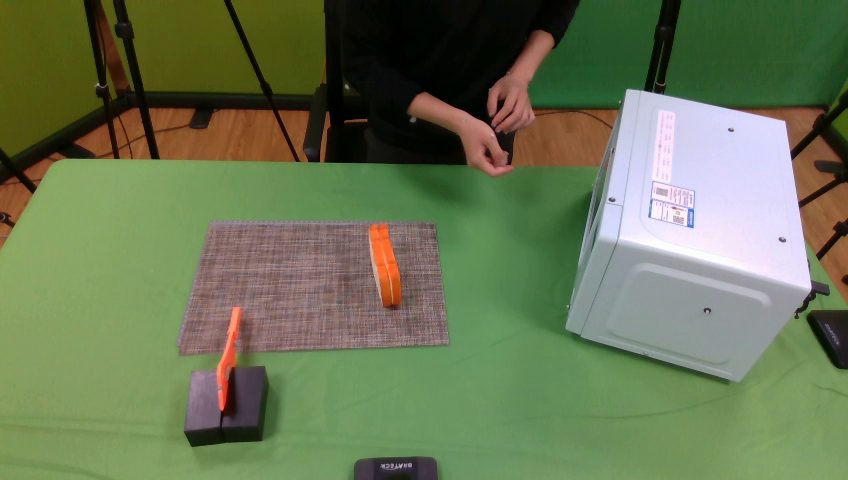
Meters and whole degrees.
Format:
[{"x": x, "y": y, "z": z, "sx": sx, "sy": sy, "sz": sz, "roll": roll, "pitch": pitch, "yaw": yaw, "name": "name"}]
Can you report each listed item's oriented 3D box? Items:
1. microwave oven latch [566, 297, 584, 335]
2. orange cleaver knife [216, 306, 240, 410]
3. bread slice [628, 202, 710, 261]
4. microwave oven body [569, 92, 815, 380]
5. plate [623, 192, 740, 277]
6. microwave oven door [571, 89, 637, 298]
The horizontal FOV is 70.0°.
[{"x": 0.268, "y": 0.126, "z": 1.059, "sx": 0.030, "sy": 0.029, "sz": 0.079, "roll": 16, "pitch": 46, "yaw": 12, "name": "microwave oven latch"}, {"x": -0.307, "y": 0.180, "z": 0.957, "sx": 0.012, "sy": 0.077, "sz": 0.210, "roll": -2, "pitch": 25, "yaw": -8, "name": "orange cleaver knife"}, {"x": 0.474, "y": -0.023, "z": 1.163, "sx": 0.134, "sy": 0.018, "sz": 0.106, "roll": -27, "pitch": 53, "yaw": -17, "name": "bread slice"}, {"x": 0.468, "y": -0.022, "z": 1.082, "sx": 0.325, "sy": 0.261, "sz": 0.440, "roll": 15, "pitch": 46, "yaw": 11, "name": "microwave oven body"}, {"x": 0.480, "y": -0.007, "z": 1.142, "sx": 0.208, "sy": 0.039, "sz": 0.206, "roll": 0, "pitch": 47, "yaw": 0, "name": "plate"}, {"x": 0.343, "y": -0.091, "z": 1.132, "sx": 0.039, "sy": 0.245, "sz": 0.354, "roll": 15, "pitch": 47, "yaw": 10, "name": "microwave oven door"}]
